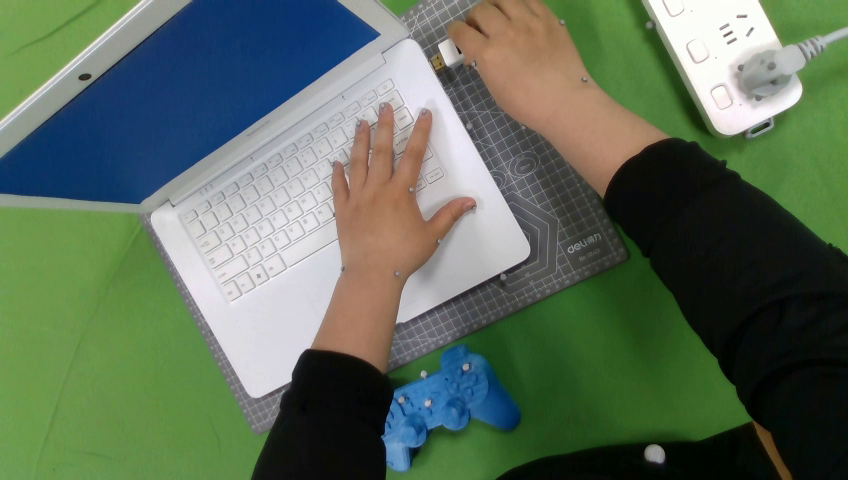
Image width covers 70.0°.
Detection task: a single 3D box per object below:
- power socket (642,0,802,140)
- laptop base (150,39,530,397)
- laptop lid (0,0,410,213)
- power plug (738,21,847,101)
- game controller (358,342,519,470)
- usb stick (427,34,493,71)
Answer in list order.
[{"bbox_3d":[0.226,-0.187,0.490,0.072,0.032,0.226,-26,90,19],"label":"power socket"},{"bbox_3d":[-0.098,-0.008,0.617,0.354,0.023,0.235,-29,92,18],"label":"laptop base"},{"bbox_3d":[-0.197,-0.113,0.506,0.356,0.242,0.013,-29,80,19],"label":"laptop lid"},{"bbox_3d":[0.280,-0.132,0.463,0.072,0.053,0.035,-17,92,14],"label":"power plug"},{"bbox_3d":[0.007,0.167,0.599,0.155,0.052,0.097,-27,85,17],"label":"game controller"},{"bbox_3d":[0.032,-0.168,0.549,0.059,0.027,0.021,-12,94,3],"label":"usb stick"}]
